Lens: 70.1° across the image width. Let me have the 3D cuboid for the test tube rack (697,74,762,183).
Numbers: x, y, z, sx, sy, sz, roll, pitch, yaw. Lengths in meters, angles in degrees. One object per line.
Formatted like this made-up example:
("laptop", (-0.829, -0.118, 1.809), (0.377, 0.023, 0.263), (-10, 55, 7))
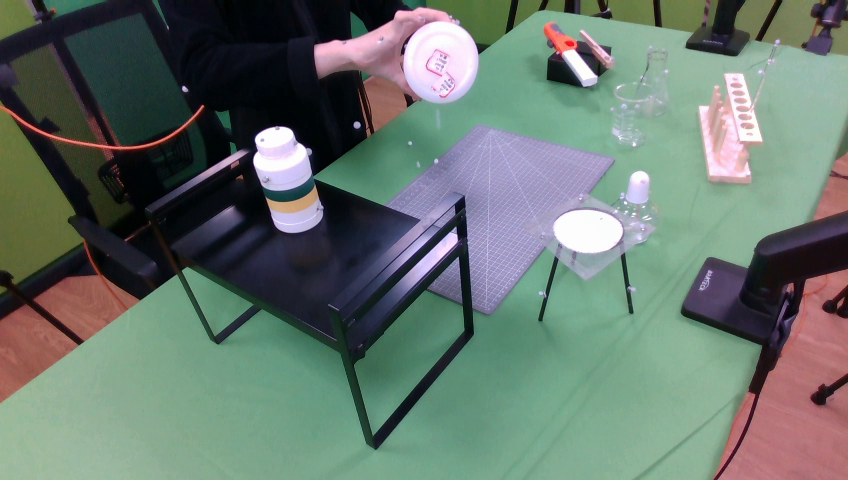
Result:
("test tube rack", (0.547, -0.208, 1.095), (0.066, 0.085, 0.242), (5, 42, 15))

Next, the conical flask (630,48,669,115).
("conical flask", (0.456, -0.317, 1.205), (0.075, 0.122, 0.075), (-4, 41, 4))

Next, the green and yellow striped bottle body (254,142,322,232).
("green and yellow striped bottle body", (-0.165, -0.073, 0.732), (0.063, 0.120, 0.063), (-4, 41, 4))

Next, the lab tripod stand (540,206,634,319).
("lab tripod stand", (0.217, 0.034, 0.821), (0.148, 0.132, 0.147), (-4, 42, 4))

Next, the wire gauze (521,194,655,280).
("wire gauze", (0.207, -0.012, 0.772), (0.122, 0.011, 0.124), (-28, 44, -20))

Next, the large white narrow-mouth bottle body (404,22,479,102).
("large white narrow-mouth bottle body", (0.024, -0.256, 0.872), (0.102, 0.102, 0.194), (-5, 17, 2))

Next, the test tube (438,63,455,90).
("test tube", (0.040, -0.279, 1.039), (0.017, 0.017, 0.150), (0, 3, 8))

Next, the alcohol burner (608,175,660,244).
("alcohol burner", (0.322, -0.053, 0.924), (0.078, 0.119, 0.077), (-4, 43, 4))

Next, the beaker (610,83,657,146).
("beaker", (0.388, -0.235, 1.138), (0.074, 0.101, 0.083), (-31, 45, -25))

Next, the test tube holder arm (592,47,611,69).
("test tube holder arm", (0.386, -0.398, 1.317), (0.010, 0.015, 0.087), (-10, 41, -3))

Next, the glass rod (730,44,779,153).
("glass rod", (0.555, -0.234, 1.020), (0.008, 0.200, 0.008), (2, 40, -1))

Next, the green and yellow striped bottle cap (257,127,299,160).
("green and yellow striped bottle cap", (-0.169, -0.112, 0.698), (0.045, 0.020, 0.045), (-5, 40, 5))

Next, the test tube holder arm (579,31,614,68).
("test tube holder arm", (0.384, -0.428, 1.351), (0.013, 0.015, 0.177), (-10, 41, -4))

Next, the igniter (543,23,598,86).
("igniter", (0.320, -0.419, 1.345), (0.057, 0.025, 0.274), (-12, 44, -3))

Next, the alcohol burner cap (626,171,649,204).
("alcohol burner cap", (0.320, -0.081, 0.900), (0.034, 0.048, 0.033), (-4, 42, 4))

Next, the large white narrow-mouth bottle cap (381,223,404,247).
("large white narrow-mouth bottle cap", (-0.052, -0.009, 0.992), (0.038, 0.024, 0.037), (-5, 39, 4))
